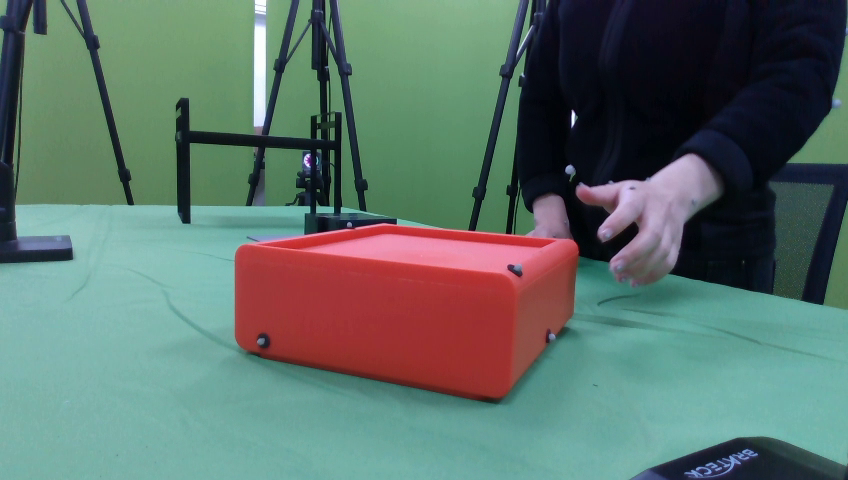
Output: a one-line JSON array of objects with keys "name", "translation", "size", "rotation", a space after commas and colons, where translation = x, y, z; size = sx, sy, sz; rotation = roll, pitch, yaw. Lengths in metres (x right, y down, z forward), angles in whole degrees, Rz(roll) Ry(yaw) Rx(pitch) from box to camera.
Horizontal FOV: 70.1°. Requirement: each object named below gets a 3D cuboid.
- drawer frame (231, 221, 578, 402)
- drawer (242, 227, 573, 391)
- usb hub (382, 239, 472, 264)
[{"name": "drawer frame", "translation": [0.001, 0.038, 0.475], "size": [0.201, 0.082, 0.214], "rotation": [6, 9, 22]}, {"name": "drawer", "translation": [0.001, 0.041, 0.476], "size": [0.194, 0.073, 0.212], "rotation": [6, 9, 22]}, {"name": "usb hub", "translation": [0.006, 0.015, 0.853], "size": [0.126, 0.025, 0.049], "rotation": [-3, 9, -36]}]
